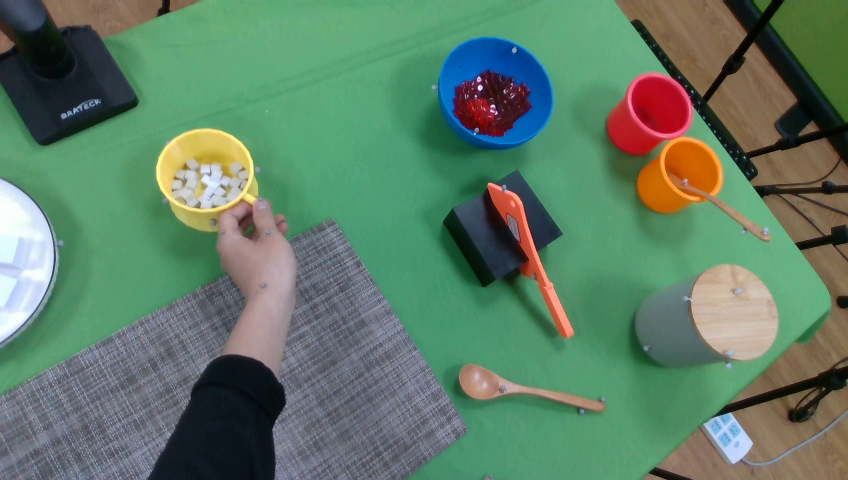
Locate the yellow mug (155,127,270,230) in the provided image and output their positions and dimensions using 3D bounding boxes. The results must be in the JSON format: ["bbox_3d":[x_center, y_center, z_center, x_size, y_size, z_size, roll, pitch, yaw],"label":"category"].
[{"bbox_3d":[-0.230,-0.060,0.684,0.131,0.064,0.099,31,70,-1],"label":"yellow mug"}]

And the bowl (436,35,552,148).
[{"bbox_3d":[0.081,-0.179,0.787,0.152,0.077,0.150,4,74,-12],"label":"bowl"}]

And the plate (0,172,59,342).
[{"bbox_3d":[-0.485,0.023,0.617,0.208,0.039,0.206,4,74,-12],"label":"plate"}]

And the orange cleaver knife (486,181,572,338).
[{"bbox_3d":[0.126,0.024,0.737,0.012,0.076,0.212,-29,106,-16],"label":"orange cleaver knife"}]

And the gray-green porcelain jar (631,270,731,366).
[{"bbox_3d":[0.325,0.098,0.739,0.106,0.127,0.105,4,73,-12],"label":"gray-green porcelain jar"}]

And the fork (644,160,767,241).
[{"bbox_3d":[0.356,-0.055,0.778,0.028,0.019,0.205,-15,34,-16],"label":"fork"}]

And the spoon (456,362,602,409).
[{"bbox_3d":[0.128,0.181,0.724,0.194,0.022,0.041,13,55,-9],"label":"spoon"}]

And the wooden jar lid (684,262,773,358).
[{"bbox_3d":[0.339,0.079,0.680,0.109,0.021,0.108,3,74,-10],"label":"wooden jar lid"}]
